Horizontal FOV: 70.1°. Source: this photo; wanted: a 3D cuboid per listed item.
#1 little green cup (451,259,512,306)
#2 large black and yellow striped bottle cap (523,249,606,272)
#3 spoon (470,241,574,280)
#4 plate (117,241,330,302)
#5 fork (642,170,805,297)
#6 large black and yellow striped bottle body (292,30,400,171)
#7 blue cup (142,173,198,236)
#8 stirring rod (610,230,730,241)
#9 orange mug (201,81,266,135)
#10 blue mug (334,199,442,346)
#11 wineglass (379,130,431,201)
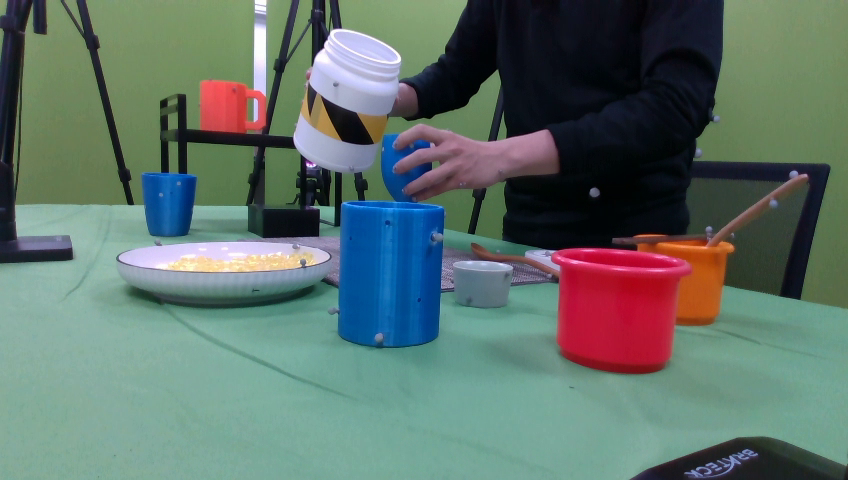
[{"bbox_3d":[0.057,0.043,0.611,0.061,0.038,0.061,3,8,0],"label":"little green cup"},{"bbox_3d":[0.198,0.028,0.851,0.115,0.019,0.115,5,5,0],"label":"large black and yellow striped bottle cap"},{"bbox_3d":[0.124,0.025,0.800,0.042,0.021,0.192,22,-5,-34],"label":"spoon"},{"bbox_3d":[-0.203,0.031,0.630,0.209,0.038,0.209,3,7,0],"label":"plate"},{"bbox_3d":[0.261,0.004,0.545,0.028,0.018,0.207,5,-37,-15],"label":"fork"},{"bbox_3d":[-0.118,-0.213,0.929,0.131,0.183,0.130,18,31,-11],"label":"large black and yellow striped bottle body"},{"bbox_3d":[-0.425,-0.060,1.014,0.093,0.100,0.092,4,9,0],"label":"blue cup"},{"bbox_3d":[0.241,-0.005,0.581,0.177,0.006,0.014,-2,10,-34],"label":"stirring rod"},{"bbox_3d":[-0.377,-0.260,1.197,0.126,0.101,0.083,-2,7,-6],"label":"orange mug"},{"bbox_3d":[-0.034,0.020,0.498,0.083,0.106,0.116,0,7,-20],"label":"blue mug"},{"bbox_3d":[-0.025,-0.063,0.837,0.074,0.172,0.073,-1,7,0],"label":"wineglass"}]
